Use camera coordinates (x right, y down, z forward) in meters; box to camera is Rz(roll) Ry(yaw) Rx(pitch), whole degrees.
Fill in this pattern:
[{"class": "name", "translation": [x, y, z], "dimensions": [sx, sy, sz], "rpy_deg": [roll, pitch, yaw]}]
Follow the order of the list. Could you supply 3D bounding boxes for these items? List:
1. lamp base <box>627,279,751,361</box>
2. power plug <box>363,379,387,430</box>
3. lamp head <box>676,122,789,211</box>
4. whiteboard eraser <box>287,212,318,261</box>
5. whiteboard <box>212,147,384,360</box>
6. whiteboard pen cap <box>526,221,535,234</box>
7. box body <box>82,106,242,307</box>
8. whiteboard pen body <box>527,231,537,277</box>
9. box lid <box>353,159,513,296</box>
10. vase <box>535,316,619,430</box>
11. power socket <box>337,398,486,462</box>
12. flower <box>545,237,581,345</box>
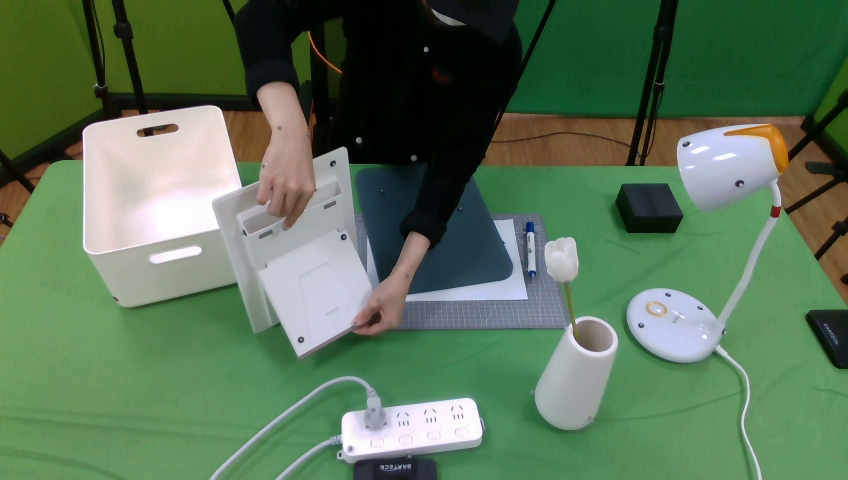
[{"class": "lamp base", "translation": [0.460, 0.100, 1.027], "dimensions": [0.178, 0.181, 0.160], "rpy_deg": [27, 51, 17]}, {"class": "power plug", "translation": [-0.071, 0.252, 0.911], "dimensions": [0.035, 0.053, 0.072], "rpy_deg": [3, 40, 0]}, {"class": "lamp head", "translation": [0.423, -0.104, 0.819], "dimensions": [0.122, 0.113, 0.112], "rpy_deg": [-13, 33, 40]}, {"class": "whiteboard eraser", "translation": [-0.234, -0.007, 1.173], "dimensions": [0.055, 0.042, 0.112], "rpy_deg": [-4, 46, -5]}, {"class": "whiteboard", "translation": [-0.169, 0.045, 0.944], "dimensions": [0.217, 0.307, 0.143], "rpy_deg": [-27, 53, -25]}, {"class": "whiteboard pen cap", "translation": [0.216, -0.022, 1.234], "dimensions": [0.018, 0.018, 0.033], "rpy_deg": [6, 45, 2]}, {"class": "box body", "translation": [-0.471, -0.071, 1.131], "dimensions": [0.254, 0.161, 0.361], "rpy_deg": [-14, 49, -17]}, {"class": "whiteboard pen body", "translation": [0.211, 0.018, 1.191], "dimensions": [0.017, 0.017, 0.140], "rpy_deg": [6, 44, 2]}, {"class": "box lid", "translation": [0.008, -0.039, 1.242], "dimensions": [0.264, 0.015, 0.369], "rpy_deg": [-8, 47, -12]}, {"class": "vase", "translation": [0.229, 0.200, 0.901], "dimensions": [0.098, 0.201, 0.097], "rpy_deg": [3, 46, -3]}, {"class": "power socket", "translation": [-0.018, 0.285, 0.914], "dimensions": [0.227, 0.033, 0.071], "rpy_deg": [-4, 46, -8]}, {"class": "flower", "translation": [0.213, 0.137, 0.846], "dimensions": [0.038, 0.364, 0.044], "rpy_deg": [21, 55, 40]}]
